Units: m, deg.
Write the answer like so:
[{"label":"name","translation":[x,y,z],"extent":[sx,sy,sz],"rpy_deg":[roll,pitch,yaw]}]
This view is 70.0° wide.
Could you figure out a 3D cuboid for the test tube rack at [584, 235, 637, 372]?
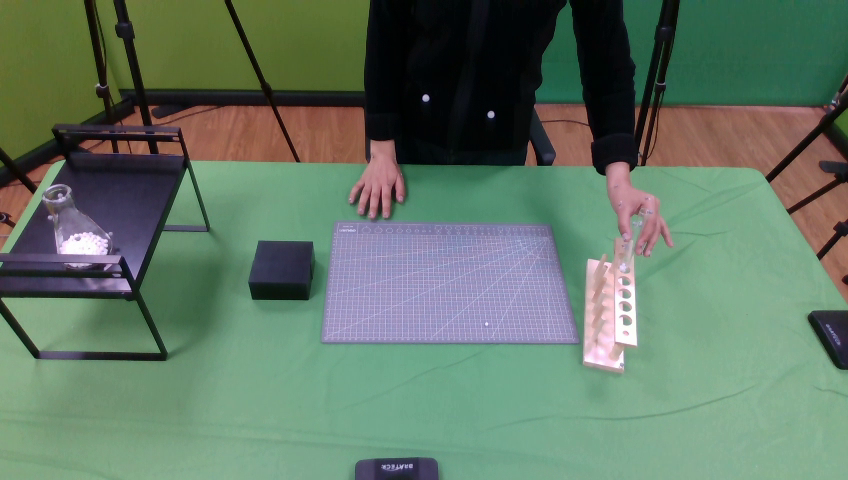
[{"label":"test tube rack","translation":[0.329,0.103,1.073],"extent":[0.067,0.085,0.241],"rpy_deg":[10,47,7]}]

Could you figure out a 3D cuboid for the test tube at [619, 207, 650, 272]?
[{"label":"test tube","translation":[0.354,0.003,1.024],"extent":[0.017,0.151,0.017],"rpy_deg":[1,46,0]}]

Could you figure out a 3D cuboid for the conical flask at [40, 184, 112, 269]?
[{"label":"conical flask","translation":[-0.501,-0.022,0.861],"extent":[0.075,0.122,0.075],"rpy_deg":[2,46,-1]}]
